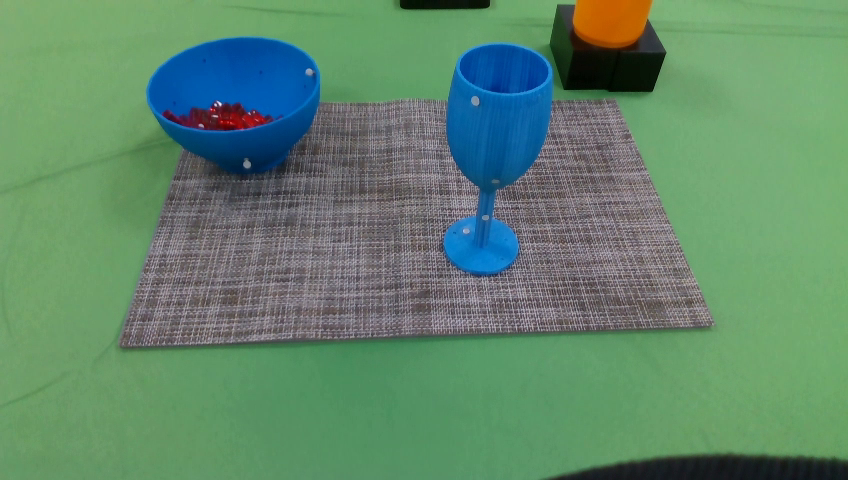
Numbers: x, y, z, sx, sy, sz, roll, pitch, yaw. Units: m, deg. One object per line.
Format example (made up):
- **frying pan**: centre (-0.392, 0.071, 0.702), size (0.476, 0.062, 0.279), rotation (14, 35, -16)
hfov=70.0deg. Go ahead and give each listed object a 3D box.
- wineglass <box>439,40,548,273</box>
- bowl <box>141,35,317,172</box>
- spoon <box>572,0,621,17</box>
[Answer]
- **wineglass**: centre (0.046, -0.055, 0.453), size (0.074, 0.174, 0.073), rotation (1, 48, -1)
- **bowl**: centre (-0.172, -0.117, 0.564), size (0.151, 0.077, 0.150), rotation (1, 48, -1)
- **spoon**: centre (0.220, -0.260, 0.600), size (0.041, 0.193, 0.022), rotation (-35, 102, -25)
